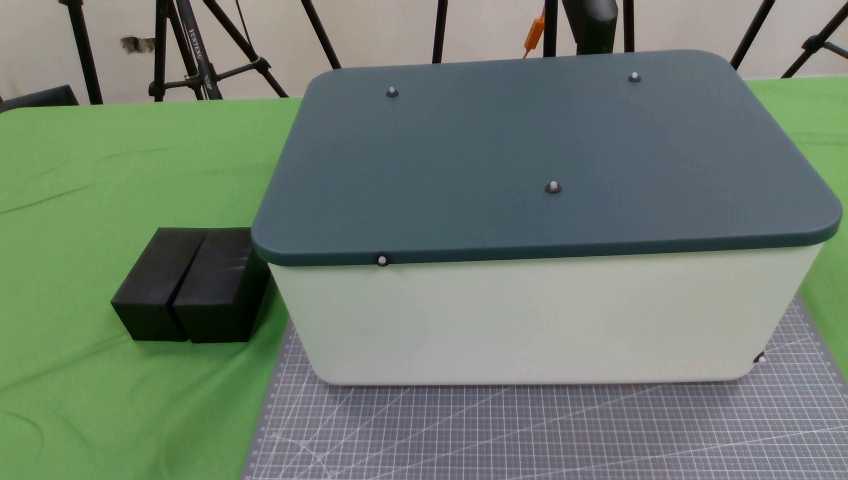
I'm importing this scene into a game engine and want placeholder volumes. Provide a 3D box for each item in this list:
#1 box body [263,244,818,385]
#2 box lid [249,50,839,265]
[{"bbox_3d":[0.079,-0.020,0.509,0.364,0.162,0.251,-2,41,4],"label":"box body"},{"bbox_3d":[0.071,-0.077,0.460,0.371,0.015,0.260,-2,40,4],"label":"box lid"}]
